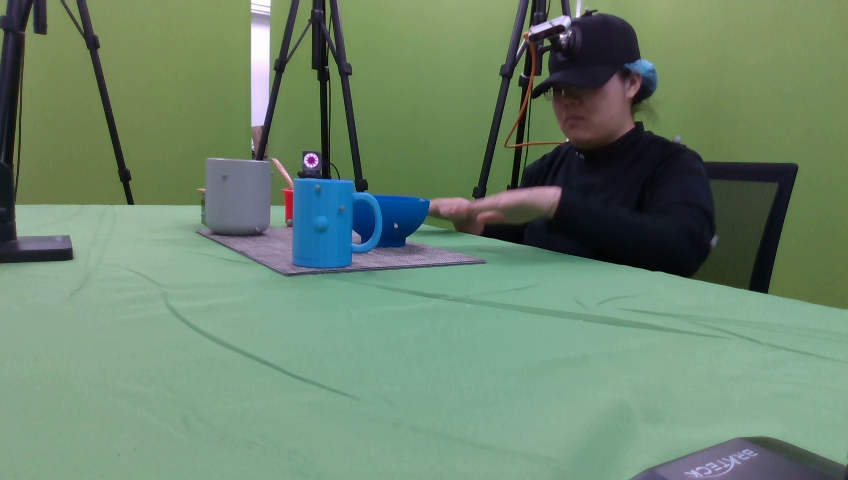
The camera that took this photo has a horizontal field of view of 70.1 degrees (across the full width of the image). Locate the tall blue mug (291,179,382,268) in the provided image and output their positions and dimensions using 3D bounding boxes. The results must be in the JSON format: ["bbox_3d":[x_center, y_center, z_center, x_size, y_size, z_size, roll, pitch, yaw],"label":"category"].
[{"bbox_3d":[-0.116,-0.023,0.779,0.108,0.108,0.077,-2,8,-33],"label":"tall blue mug"}]

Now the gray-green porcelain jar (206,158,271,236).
[{"bbox_3d":[-0.317,-0.074,1.032,0.106,0.126,0.106,3,7,0],"label":"gray-green porcelain jar"}]

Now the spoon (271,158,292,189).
[{"bbox_3d":[-0.268,-0.103,1.236,0.042,0.021,0.193,-10,58,-40],"label":"spoon"}]

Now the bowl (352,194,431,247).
[{"bbox_3d":[-0.066,-0.032,0.984,0.151,0.077,0.151,2,7,0],"label":"bowl"}]

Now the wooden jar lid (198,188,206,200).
[{"bbox_3d":[-0.382,-0.088,1.175,0.108,0.020,0.108,3,8,0],"label":"wooden jar lid"}]
